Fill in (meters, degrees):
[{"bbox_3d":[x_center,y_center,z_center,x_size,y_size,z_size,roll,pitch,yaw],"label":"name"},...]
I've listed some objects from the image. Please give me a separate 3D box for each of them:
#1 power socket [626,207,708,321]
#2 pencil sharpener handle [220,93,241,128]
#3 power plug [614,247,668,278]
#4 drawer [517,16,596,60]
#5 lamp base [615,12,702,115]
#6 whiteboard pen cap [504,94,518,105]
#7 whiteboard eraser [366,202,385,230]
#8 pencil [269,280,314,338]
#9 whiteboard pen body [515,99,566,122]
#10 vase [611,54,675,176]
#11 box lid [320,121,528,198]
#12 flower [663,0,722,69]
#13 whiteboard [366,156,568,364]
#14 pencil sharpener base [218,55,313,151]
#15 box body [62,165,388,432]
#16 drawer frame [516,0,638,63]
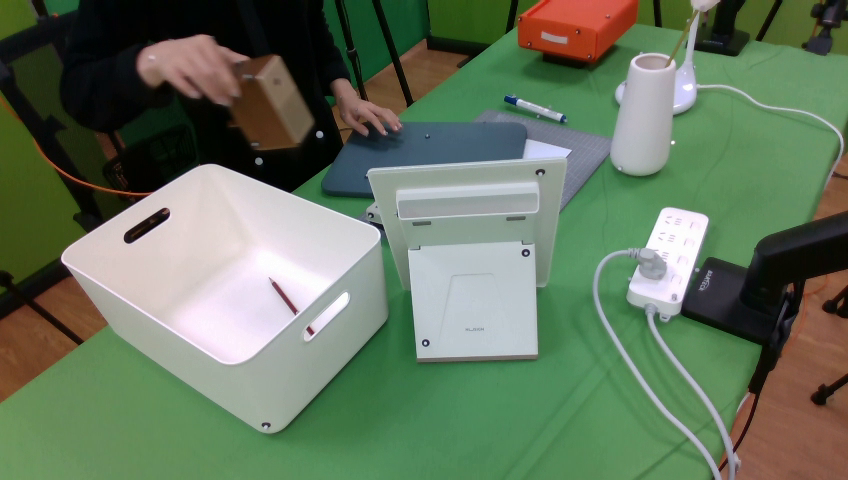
[{"bbox_3d":[0.359,0.025,0.886,0.072,0.033,0.227,16,46,26],"label":"power socket"},{"bbox_3d":[-0.259,-0.182,0.807,0.030,0.068,0.036,-3,33,24],"label":"pencil sharpener handle"},{"bbox_3d":[0.306,0.031,0.851,0.072,0.053,0.035,24,49,33],"label":"power plug"},{"bbox_3d":[0.353,-0.506,1.405,0.193,0.073,0.212,23,49,32],"label":"drawer"},{"bbox_3d":[0.484,-0.364,1.211,0.180,0.181,0.159,-15,41,-14],"label":"lamp base"},{"bbox_3d":[0.190,-0.299,1.292,0.033,0.018,0.018,30,52,28],"label":"whiteboard pen cap"},{"bbox_3d":[-0.037,-0.038,1.006,0.112,0.042,0.055,16,48,25],"label":"whiteboard eraser"},{"bbox_3d":[-0.188,0.106,0.880,0.012,0.012,0.192,-28,42,-23],"label":"pencil"},{"bbox_3d":[0.234,-0.274,1.262,0.139,0.017,0.017,28,51,29],"label":"whiteboard pen body"},{"bbox_3d":[0.377,-0.209,1.031,0.098,0.201,0.097,-3,40,3],"label":"vase"},{"bbox_3d":[0.009,-0.158,1.167,0.370,0.015,0.262,3,41,13],"label":"box lid"},{"bbox_3d":[0.379,-0.261,0.965,0.044,0.362,0.038,20,53,5],"label":"flower"},{"bbox_3d":[0.059,0.050,0.738,0.217,0.307,0.143,-2,60,6],"label":"whiteboard"},{"bbox_3d":[-0.208,-0.177,0.797,0.076,0.108,0.061,-3,44,24],"label":"pencil sharpener base"},{"bbox_3d":[-0.255,0.065,0.827,0.361,0.161,0.255,21,48,29],"label":"box body"},{"bbox_3d":[0.355,-0.508,1.410,0.200,0.083,0.214,23,51,32],"label":"drawer frame"}]
